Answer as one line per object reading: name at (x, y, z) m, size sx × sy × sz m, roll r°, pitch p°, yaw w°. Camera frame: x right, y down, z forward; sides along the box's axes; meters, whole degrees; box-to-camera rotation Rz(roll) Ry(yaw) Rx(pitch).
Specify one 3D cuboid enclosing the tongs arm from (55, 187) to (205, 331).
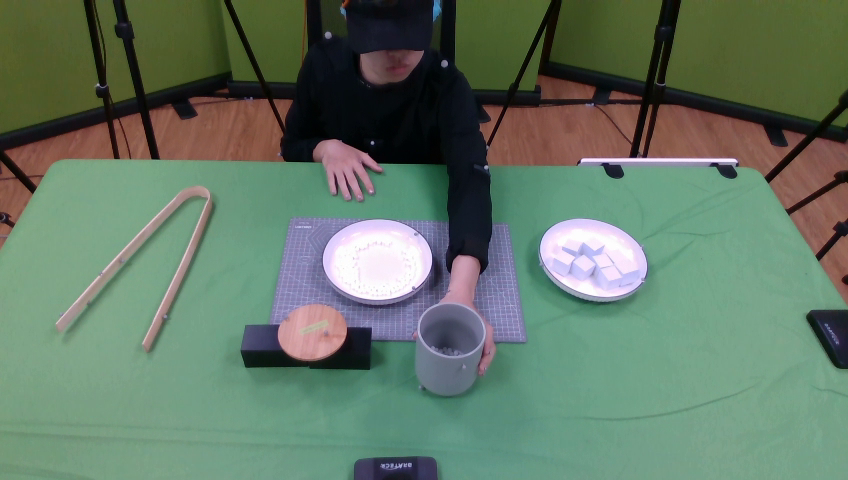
tongs arm at (-0.530, 0.022, 1.126) m, size 0.051 × 0.026 × 0.383 m, roll 15°, pitch 46°, yaw 8°

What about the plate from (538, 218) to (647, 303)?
plate at (0.322, 0.042, 1.171) m, size 0.208 × 0.039 × 0.206 m, roll 2°, pitch 46°, yaw -2°

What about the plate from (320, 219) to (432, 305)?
plate at (-0.089, 0.044, 1.134) m, size 0.209 × 0.038 × 0.208 m, roll 3°, pitch 46°, yaw -2°

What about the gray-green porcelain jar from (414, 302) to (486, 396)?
gray-green porcelain jar at (0.037, 0.178, 0.958) m, size 0.106 × 0.127 × 0.105 m, roll 2°, pitch 47°, yaw -2°

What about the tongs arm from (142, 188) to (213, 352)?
tongs arm at (-0.450, 0.040, 1.122) m, size 0.028 × 0.028 × 0.385 m, roll 3°, pitch 46°, yaw 1°

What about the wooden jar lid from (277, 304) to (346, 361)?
wooden jar lid at (-0.179, 0.150, 0.972) m, size 0.108 × 0.021 × 0.107 m, roll 2°, pitch 45°, yaw -2°
